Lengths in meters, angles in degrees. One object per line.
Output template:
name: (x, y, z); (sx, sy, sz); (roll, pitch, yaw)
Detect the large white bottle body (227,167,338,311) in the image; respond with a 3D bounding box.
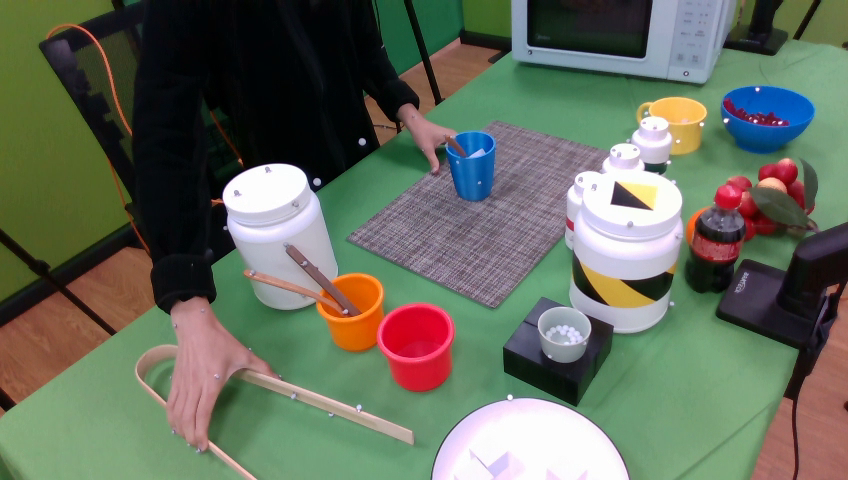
large white bottle body: (-0.207, -0.002, 0.884); (0.130, 0.185, 0.130); (-5, 40, 4)

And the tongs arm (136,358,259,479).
tongs arm: (-0.231, 0.240, 0.705); (0.384, 0.028, 0.028); (24, 52, 31)

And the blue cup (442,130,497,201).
blue cup: (0.084, -0.123, 1.041); (0.092, 0.100, 0.092); (-4, 43, 4)

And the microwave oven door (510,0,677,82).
microwave oven door: (0.352, -0.477, 1.289); (0.353, 0.245, 0.039); (15, 44, 25)

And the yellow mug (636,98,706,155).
yellow mug: (0.453, -0.217, 1.128); (0.100, 0.064, 0.129); (-34, 46, -27)

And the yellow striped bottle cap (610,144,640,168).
yellow striped bottle cap: (0.307, -0.128, 0.923); (0.044, 0.019, 0.044); (-5, 39, 5)

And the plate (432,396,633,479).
plate: (0.112, 0.261, 0.634); (0.209, 0.038, 0.208); (-5, 40, 4)

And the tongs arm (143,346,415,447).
tongs arm: (-0.193, 0.197, 0.754); (0.382, 0.026, 0.051); (15, 45, 23)

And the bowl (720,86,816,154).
bowl: (0.605, -0.206, 1.081); (0.151, 0.077, 0.150); (-5, 40, 5)

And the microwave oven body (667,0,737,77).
microwave oven body: (0.462, -0.552, 1.368); (0.439, 0.261, 0.326); (15, 45, 26)

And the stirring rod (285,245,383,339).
stirring rod: (-0.121, 0.071, 0.819); (0.176, 0.006, 0.014); (44, 53, -6)

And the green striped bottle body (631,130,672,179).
green striped bottle body: (0.375, -0.140, 1.007); (0.063, 0.120, 0.063); (-5, 40, 5)

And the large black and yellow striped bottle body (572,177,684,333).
large black and yellow striped bottle body: (0.262, 0.017, 0.788); (0.131, 0.185, 0.130); (-5, 40, 4)

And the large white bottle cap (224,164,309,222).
large white bottle cap: (-0.216, -0.066, 0.829); (0.115, 0.018, 0.114); (-4, 40, 4)

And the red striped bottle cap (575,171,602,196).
red striped bottle cap: (0.242, -0.081, 0.876); (0.044, 0.018, 0.044); (-5, 44, 5)

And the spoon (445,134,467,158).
spoon: (0.064, -0.130, 0.994); (0.041, 0.195, 0.021); (20, 78, 24)

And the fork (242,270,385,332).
fork: (-0.142, 0.082, 0.802); (0.209, 0.018, 0.028); (28, 38, -26)

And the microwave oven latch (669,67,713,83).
microwave oven latch: (0.556, -0.349, 1.261); (0.078, 0.029, 0.030); (16, 46, 27)

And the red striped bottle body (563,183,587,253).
red striped bottle body: (0.246, -0.041, 0.910); (0.063, 0.120, 0.062); (-2, 38, 2)

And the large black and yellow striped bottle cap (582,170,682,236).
large black and yellow striped bottle cap: (0.252, -0.048, 0.735); (0.115, 0.019, 0.114); (-3, 40, 3)

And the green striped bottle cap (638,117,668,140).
green striped bottle cap: (0.369, -0.180, 0.974); (0.044, 0.020, 0.044); (-4, 41, 4)

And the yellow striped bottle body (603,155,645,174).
yellow striped bottle body: (0.313, -0.089, 0.956); (0.063, 0.121, 0.062); (-4, 39, 4)
